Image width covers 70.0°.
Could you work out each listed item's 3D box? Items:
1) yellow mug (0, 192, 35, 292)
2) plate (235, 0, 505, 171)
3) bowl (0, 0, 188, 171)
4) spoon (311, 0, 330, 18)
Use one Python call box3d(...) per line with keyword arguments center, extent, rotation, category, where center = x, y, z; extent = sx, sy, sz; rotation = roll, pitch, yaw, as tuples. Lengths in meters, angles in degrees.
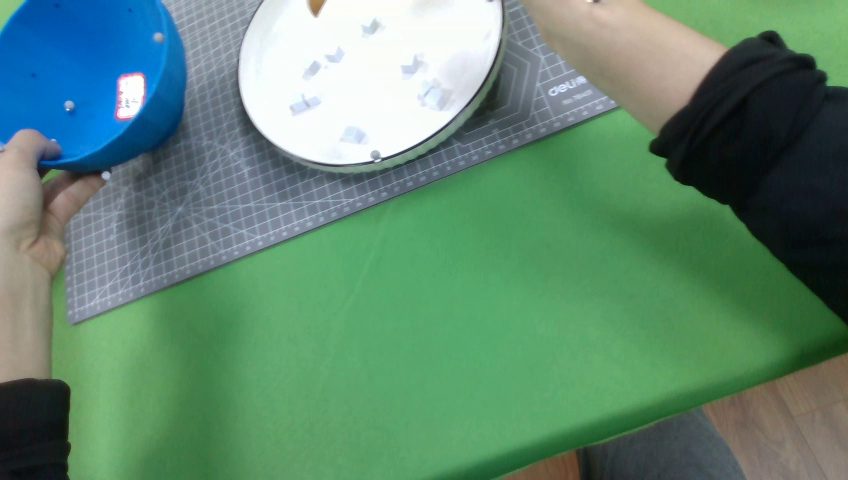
box3d(center=(-0.387, 0.010, 0.489), extent=(0.099, 0.064, 0.130), rotation=(2, 72, 16), category="yellow mug")
box3d(center=(-0.040, -0.142, 0.454), extent=(0.208, 0.038, 0.207), rotation=(-5, 70, 14), category="plate")
box3d(center=(-0.233, -0.113, 0.450), extent=(0.151, 0.077, 0.150), rotation=(-3, 76, 12), category="bowl")
box3d(center=(-0.006, -0.190, 0.337), extent=(0.193, 0.022, 0.041), rotation=(-27, 49, 34), category="spoon")
